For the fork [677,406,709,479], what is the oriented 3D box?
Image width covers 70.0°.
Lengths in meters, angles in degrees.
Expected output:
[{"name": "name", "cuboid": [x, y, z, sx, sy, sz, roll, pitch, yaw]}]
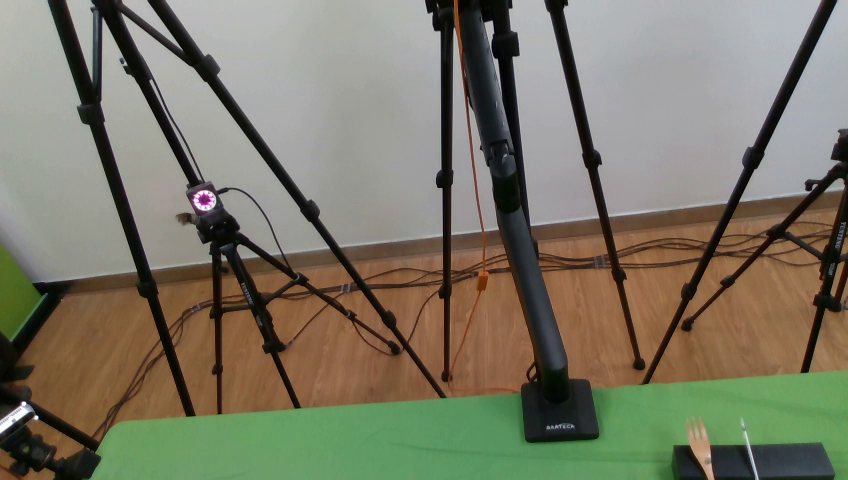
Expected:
[{"name": "fork", "cuboid": [0.394, 0.337, 0.847, 0.028, 0.019, 0.205, -8, 59, 4]}]

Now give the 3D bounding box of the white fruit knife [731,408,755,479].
[{"name": "white fruit knife", "cuboid": [0.451, 0.333, 0.833, 0.016, 0.028, 0.205, -9, 55, 14]}]
